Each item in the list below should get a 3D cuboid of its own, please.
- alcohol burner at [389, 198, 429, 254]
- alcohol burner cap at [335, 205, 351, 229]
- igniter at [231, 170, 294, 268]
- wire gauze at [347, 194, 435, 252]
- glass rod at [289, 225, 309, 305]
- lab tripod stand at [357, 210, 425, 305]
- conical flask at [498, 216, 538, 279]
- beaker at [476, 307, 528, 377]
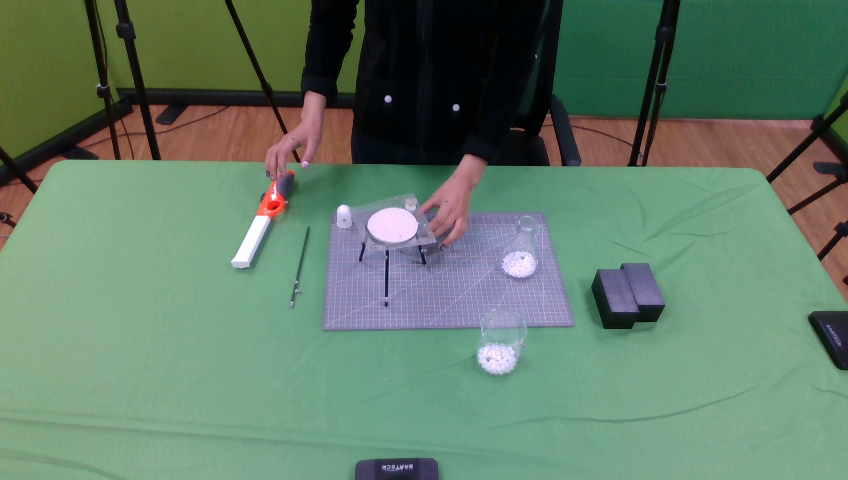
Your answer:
[{"bbox_3d":[-0.028,-0.031,1.161,0.078,0.120,0.077,1,46,-1],"label":"alcohol burner"},{"bbox_3d":[-0.164,-0.049,1.216,0.034,0.048,0.033,2,45,-2],"label":"alcohol burner cap"},{"bbox_3d":[-0.322,-0.051,1.220,0.057,0.025,0.275,2,45,12],"label":"igniter"},{"bbox_3d":[-0.058,-0.029,1.048,0.125,0.011,0.120,-12,48,-16],"label":"wire gauze"},{"bbox_3d":[-0.236,0.042,1.149,0.008,0.008,0.198,3,46,-1],"label":"glass rod"},{"bbox_3d":[-0.060,0.020,1.094,0.148,0.132,0.147,3,44,-2],"label":"lab tripod stand"},{"bbox_3d":[0.183,0.010,1.131,0.075,0.122,0.075,2,46,-2],"label":"conical flask"},{"bbox_3d":[0.122,0.171,0.991,0.084,0.101,0.073,-34,56,-30],"label":"beaker"}]
